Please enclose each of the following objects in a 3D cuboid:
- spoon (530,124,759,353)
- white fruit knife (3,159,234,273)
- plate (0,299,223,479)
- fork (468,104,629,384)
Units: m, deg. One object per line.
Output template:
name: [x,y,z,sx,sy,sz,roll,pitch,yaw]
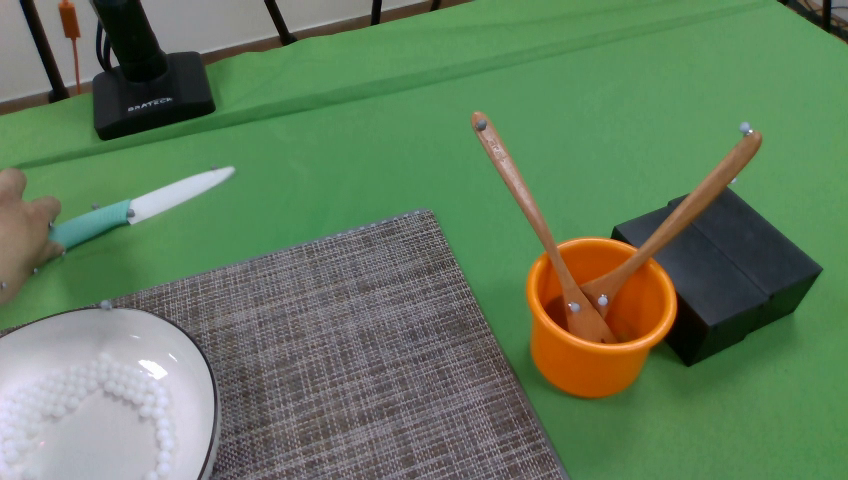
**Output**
spoon: [0.140,0.004,0.392,0.041,0.194,0.021,41,23,1]
white fruit knife: [-0.267,-0.029,0.541,0.207,0.016,0.027,-28,80,-22]
plate: [-0.227,0.131,0.377,0.209,0.038,0.207,-1,49,2]
fork: [0.081,0.003,0.400,0.028,0.018,0.208,-29,98,-7]
